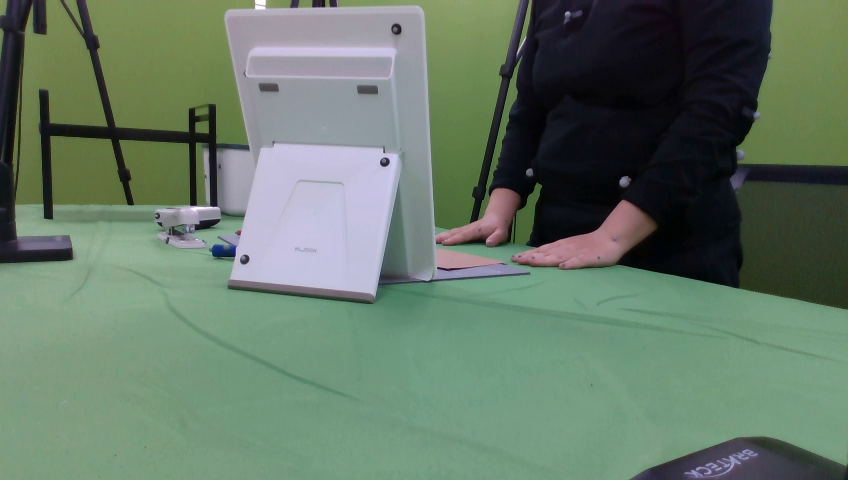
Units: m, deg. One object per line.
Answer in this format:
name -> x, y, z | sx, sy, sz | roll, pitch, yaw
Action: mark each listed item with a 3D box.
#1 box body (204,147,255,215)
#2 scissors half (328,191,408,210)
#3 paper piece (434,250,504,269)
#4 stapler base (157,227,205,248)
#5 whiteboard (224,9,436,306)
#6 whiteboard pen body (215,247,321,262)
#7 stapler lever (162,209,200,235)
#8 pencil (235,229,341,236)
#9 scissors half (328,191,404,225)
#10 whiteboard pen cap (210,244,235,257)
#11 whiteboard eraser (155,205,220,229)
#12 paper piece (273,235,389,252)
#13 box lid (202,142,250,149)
box body -> -0.346, -0.152, 1.519 | 0.366, 0.160, 0.253 | -2, 9, -31
scissors half -> -0.122, -0.092, 1.318 | 0.175, 0.040, 0.013 | 6, 11, -3
paper piece -> 0.025, 0.027, 0.865 | 0.134, 0.004, 0.136 | 9, 9, 43
stapler base -> -0.376, -0.007, 0.935 | 0.041, 0.024, 0.130 | 1, 5, -38
whiteboard -> -0.117, -0.065, 0.617 | 0.217, 0.305, 0.144 | 5, 29, 16
whiteboard pen body -> -0.208, 0.018, 0.805 | 0.141, 0.017, 0.017 | 2, 7, 1
stapler lever -> -0.376, -0.031, 0.933 | 0.027, 0.040, 0.117 | 1, 7, -38
pencil -> -0.232, -0.012, 1.053 | 0.195, 0.012, 0.012 | 0, 8, -36
scissors half -> -0.127, -0.072, 1.321 | 0.175, 0.040, 0.013 | 22, 5, -5
whiteboard pen cap -> -0.266, 0.015, 0.806 | 0.033, 0.018, 0.018 | 3, 7, -1
whiteboard eraser -> -0.428, -0.041, 1.100 | 0.055, 0.042, 0.113 | 7, 8, 19
paper piece -> -0.151, 0.003, 0.978 | 0.135, 0.008, 0.139 | 13, 10, 35
box lid -> -0.344, -0.225, 1.509 | 0.373, 0.015, 0.262 | -2, 8, -31
